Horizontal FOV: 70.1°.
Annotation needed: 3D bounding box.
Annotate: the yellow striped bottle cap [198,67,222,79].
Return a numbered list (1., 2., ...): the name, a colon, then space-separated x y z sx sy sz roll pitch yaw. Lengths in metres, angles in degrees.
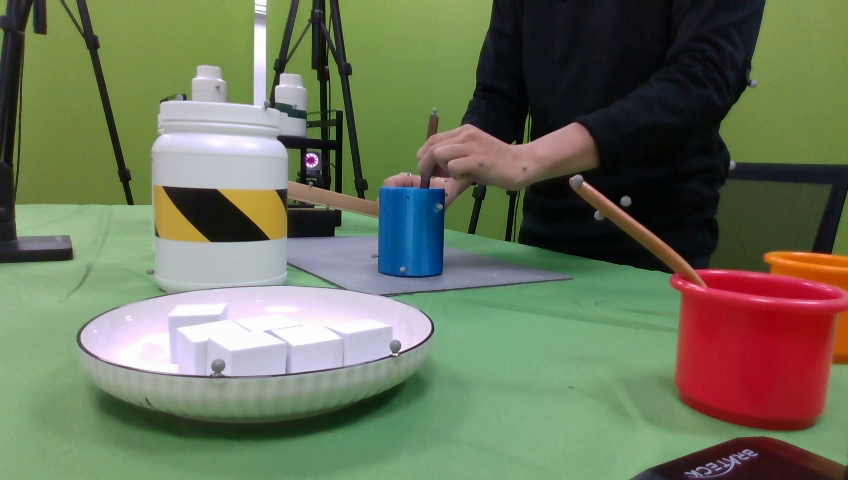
1. yellow striped bottle cap: -0.412 -0.320 1.162 0.044 0.018 0.044 0 5 0

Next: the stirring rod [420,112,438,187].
1. stirring rod: 0.001 -0.072 0.760 0.014 0.176 0.006 20 20 36

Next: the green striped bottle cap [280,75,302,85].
1. green striped bottle cap: -0.267 -0.320 1.216 0.044 0.020 0.044 3 8 0

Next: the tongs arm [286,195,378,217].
1. tongs arm: -0.165 -0.074 1.216 0.389 0.027 0.028 11 -6 -24

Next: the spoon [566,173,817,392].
1. spoon: 0.161 0.024 0.370 0.193 0.021 0.042 47 17 3

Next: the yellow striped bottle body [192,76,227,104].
1. yellow striped bottle body: -0.414 -0.268 1.169 0.063 0.120 0.063 2 7 0

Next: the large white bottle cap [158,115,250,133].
1. large white bottle cap: -0.291 -0.153 0.803 0.115 0.018 0.115 1 7 0

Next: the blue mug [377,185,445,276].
1. blue mug: -0.020 -0.016 0.763 0.082 0.106 0.116 0 6 -15

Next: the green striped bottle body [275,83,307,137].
1. green striped bottle body: -0.269 -0.269 1.221 0.063 0.119 0.063 2 7 0

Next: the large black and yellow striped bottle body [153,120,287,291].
1. large black and yellow striped bottle body: -0.208 -0.042 0.626 0.131 0.184 0.130 2 7 0

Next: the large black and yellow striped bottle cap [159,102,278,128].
1. large black and yellow striped bottle cap: -0.207 -0.125 0.615 0.115 0.019 0.115 2 6 0

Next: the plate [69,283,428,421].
1. plate: -0.102 0.066 0.381 0.208 0.039 0.207 2 7 0

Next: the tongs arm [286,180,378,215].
1. tongs arm: -0.122 -0.066 1.147 0.387 0.026 0.050 11 -2 -37

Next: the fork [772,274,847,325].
1. fork: 0.332 0.018 0.444 0.028 0.018 0.207 0 -36 -14

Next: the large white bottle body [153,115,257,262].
1. large white bottle body: -0.293 -0.070 0.814 0.131 0.184 0.130 2 7 0
